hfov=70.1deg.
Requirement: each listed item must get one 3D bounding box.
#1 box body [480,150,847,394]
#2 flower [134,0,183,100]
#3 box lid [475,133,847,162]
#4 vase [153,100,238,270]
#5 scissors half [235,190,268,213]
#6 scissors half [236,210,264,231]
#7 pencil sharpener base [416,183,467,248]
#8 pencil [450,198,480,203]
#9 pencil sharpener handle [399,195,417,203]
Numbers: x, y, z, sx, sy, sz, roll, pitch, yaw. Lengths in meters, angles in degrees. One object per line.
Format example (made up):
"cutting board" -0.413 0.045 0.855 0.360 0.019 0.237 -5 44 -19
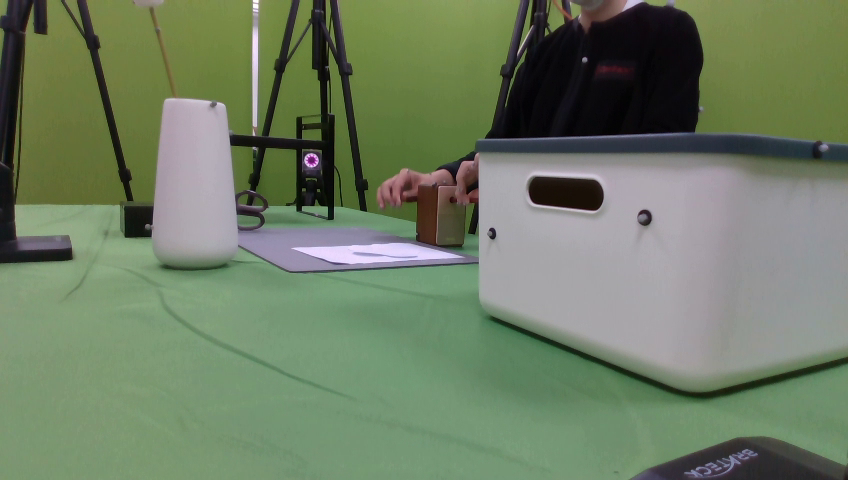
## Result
"box body" 0.254 0.002 0.539 0.366 0.160 0.253 -2 8 -31
"flower" -0.282 -0.147 0.713 0.038 0.362 0.044 -23 24 -31
"box lid" 0.255 -0.073 0.528 0.373 0.015 0.262 -2 8 -31
"vase" -0.278 -0.066 0.736 0.098 0.200 0.098 2 9 0
"scissors half" -0.363 -0.070 1.060 0.176 0.040 0.013 0 16 -23
"scissors half" -0.369 -0.051 1.064 0.176 0.040 0.012 19 13 -27
"pencil sharpener base" 0.028 -0.044 1.044 0.061 0.107 0.076 -2 8 -30
"pencil" 0.084 -0.062 0.949 0.012 0.012 0.193 -2 5 -31
"pencil sharpener handle" -0.009 -0.076 1.076 0.068 0.036 0.030 -10 12 -28
